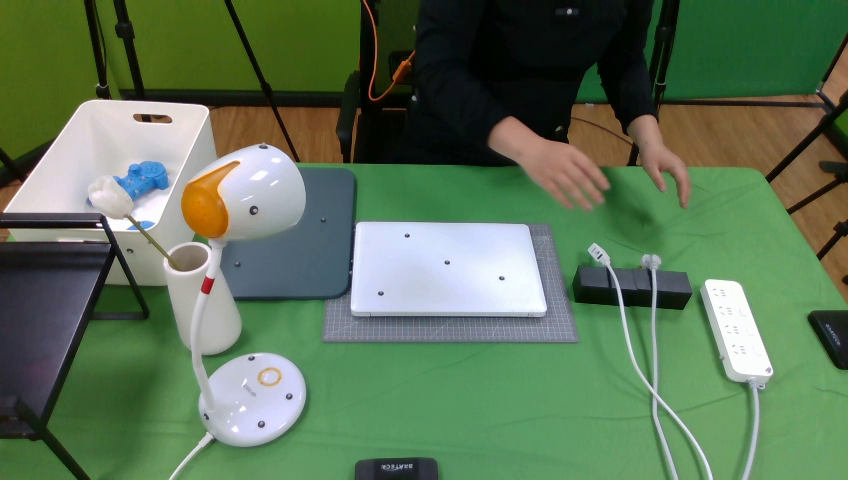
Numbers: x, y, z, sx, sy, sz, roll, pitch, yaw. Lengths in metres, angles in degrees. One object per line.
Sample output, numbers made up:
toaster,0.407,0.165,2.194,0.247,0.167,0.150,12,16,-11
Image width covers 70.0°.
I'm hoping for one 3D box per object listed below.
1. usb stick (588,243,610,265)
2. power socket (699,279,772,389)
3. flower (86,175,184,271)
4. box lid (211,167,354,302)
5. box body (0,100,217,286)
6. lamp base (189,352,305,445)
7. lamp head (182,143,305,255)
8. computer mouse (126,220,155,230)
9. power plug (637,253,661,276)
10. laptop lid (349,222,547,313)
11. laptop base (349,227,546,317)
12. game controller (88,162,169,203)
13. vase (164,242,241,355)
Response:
usb stick,0.337,0.024,1.172,0.027,0.021,0.059,32,17,-11
power socket,0.551,0.157,1.081,0.072,0.033,0.225,4,47,1
flower,-0.365,0.039,0.894,0.038,0.364,0.044,-4,53,15
box lid,-0.277,-0.024,1.205,0.263,0.015,0.369,0,46,-4
box body,-0.560,-0.092,1.145,0.254,0.161,0.361,3,46,-2
lamp base,-0.268,0.196,0.876,0.160,0.181,0.179,26,52,20
lamp head,-0.216,-0.044,0.697,0.112,0.113,0.123,23,31,17
computer mouse,-0.537,0.008,1.127,0.062,0.041,0.117,32,56,20
power plug,0.415,0.050,1.139,0.035,0.053,0.072,46,48,10
laptop lid,0.041,0.046,1.143,0.357,0.013,0.240,2,43,-3
laptop base,0.040,0.055,1.149,0.355,0.023,0.234,1,43,-4
game controller,-0.597,-0.113,1.234,0.097,0.052,0.155,29,51,20
vase,-0.349,0.096,0.954,0.098,0.201,0.097,3,47,-3
